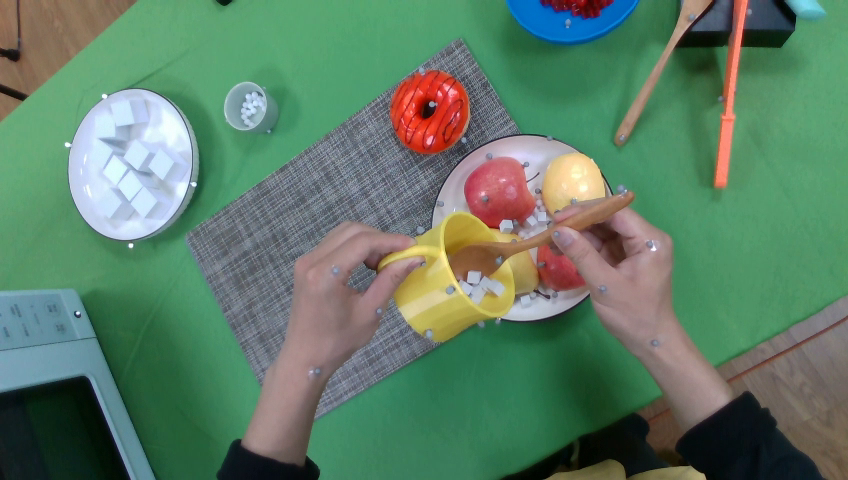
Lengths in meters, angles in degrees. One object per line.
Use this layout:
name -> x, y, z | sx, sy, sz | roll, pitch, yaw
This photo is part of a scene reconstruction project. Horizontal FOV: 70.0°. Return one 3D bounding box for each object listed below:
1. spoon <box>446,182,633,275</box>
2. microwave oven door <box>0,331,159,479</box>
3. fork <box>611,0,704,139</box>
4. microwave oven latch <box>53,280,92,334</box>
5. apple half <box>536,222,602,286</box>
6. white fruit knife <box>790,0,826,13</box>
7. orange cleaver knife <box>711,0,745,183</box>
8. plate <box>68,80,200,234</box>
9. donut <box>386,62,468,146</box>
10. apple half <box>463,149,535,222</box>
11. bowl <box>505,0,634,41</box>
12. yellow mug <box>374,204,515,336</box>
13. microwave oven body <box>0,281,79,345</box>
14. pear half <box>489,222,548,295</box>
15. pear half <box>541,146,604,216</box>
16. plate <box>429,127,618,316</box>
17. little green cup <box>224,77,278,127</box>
spoon -> 0.086, -0.005, 0.491 | 0.042, 0.021, 0.193 | 42, 144, -19
microwave oven door -> -0.422, 0.285, 0.707 | 0.039, 0.245, 0.354 | -30, 81, 13
fork -> 0.245, -0.196, 0.619 | 0.028, 0.018, 0.208 | 27, 117, 7
microwave oven latch -> -0.491, 0.094, 0.836 | 0.030, 0.029, 0.079 | -27, 83, 13
apple half -> 0.147, 0.013, 0.650 | 0.081, 0.033, 0.081 | 7, 102, 38
white fruit knife -> 0.318, -0.302, 0.586 | 0.027, 0.016, 0.206 | -26, 79, -15
orange cleaver knife -> 0.304, -0.165, 0.604 | 0.012, 0.077, 0.213 | 6, 116, 21
plate -> -0.391, -0.111, 0.829 | 0.207, 0.039, 0.207 | 0, 89, 17
donut -> 0.003, -0.158, 0.707 | 0.098, 0.048, 0.099 | 0, 91, 19
apple half -> 0.080, -0.059, 0.669 | 0.074, 0.053, 0.080 | -15, 88, 17
bowl -> 0.160, -0.280, 0.650 | 0.151, 0.077, 0.151 | 0, 90, 16
yellow mug -> 0.014, 0.024, 0.520 | 0.064, 0.132, 0.099 | -30, 59, 35
microwave oven body -> -0.563, 0.318, 0.753 | 0.326, 0.261, 0.440 | -30, 82, 13
pear half -> 0.091, 0.028, 0.669 | 0.109, 0.056, 0.076 | 33, 102, 11
pear half -> 0.154, -0.056, 0.651 | 0.070, 0.031, 0.088 | 1, 100, 40
plate -> 0.109, -0.020, 0.678 | 0.208, 0.038, 0.209 | 0, 89, 16
little green cup -> -0.221, -0.175, 0.780 | 0.061, 0.039, 0.061 | 0, 89, 17
